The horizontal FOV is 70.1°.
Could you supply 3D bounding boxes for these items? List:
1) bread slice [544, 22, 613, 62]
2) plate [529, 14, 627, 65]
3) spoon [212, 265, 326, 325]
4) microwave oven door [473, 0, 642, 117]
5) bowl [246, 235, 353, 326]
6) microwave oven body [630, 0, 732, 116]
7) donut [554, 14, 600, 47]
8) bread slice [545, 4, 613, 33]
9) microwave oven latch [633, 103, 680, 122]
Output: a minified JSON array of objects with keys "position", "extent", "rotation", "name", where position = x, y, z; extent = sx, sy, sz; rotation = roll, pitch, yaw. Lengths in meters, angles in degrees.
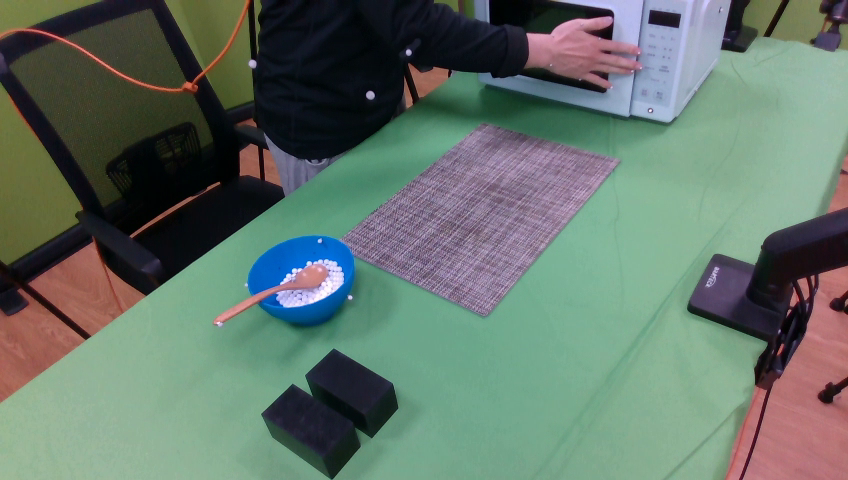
[{"position":[0.339,-0.435,1.317],"extent":[0.134,0.018,0.106],"rotation":[-16,49,-1],"name":"bread slice"},{"position":[0.332,-0.433,1.318],"extent":[0.207,0.039,0.206],"rotation":[-4,42,5],"name":"plate"},{"position":[-0.207,0.072,0.822],"extent":[0.041,0.021,0.195],"rotation":[27,29,27],"name":"spoon"},{"position":[0.254,-0.393,1.196],"extent":[0.353,0.245,0.039],"rotation":[22,49,30],"name":"microwave oven door"},{"position":[-0.170,0.070,0.868],"extent":[0.151,0.077,0.150],"rotation":[-4,41,4],"name":"bowl"},{"position":[0.377,-0.463,1.267],"extent":[0.438,0.261,0.327],"rotation":[21,49,30],"name":"microwave oven body"},{"position":[0.328,-0.452,1.297],"extent":[0.099,0.048,0.098],"rotation":[-5,46,5],"name":"donut"},{"position":[0.330,-0.473,1.280],"extent":[0.131,0.019,0.104],"rotation":[-11,39,0],"name":"bread slice"},{"position":[0.443,-0.249,1.158],"extent":[0.078,0.029,0.030],"rotation":[21,49,30],"name":"microwave oven latch"}]
